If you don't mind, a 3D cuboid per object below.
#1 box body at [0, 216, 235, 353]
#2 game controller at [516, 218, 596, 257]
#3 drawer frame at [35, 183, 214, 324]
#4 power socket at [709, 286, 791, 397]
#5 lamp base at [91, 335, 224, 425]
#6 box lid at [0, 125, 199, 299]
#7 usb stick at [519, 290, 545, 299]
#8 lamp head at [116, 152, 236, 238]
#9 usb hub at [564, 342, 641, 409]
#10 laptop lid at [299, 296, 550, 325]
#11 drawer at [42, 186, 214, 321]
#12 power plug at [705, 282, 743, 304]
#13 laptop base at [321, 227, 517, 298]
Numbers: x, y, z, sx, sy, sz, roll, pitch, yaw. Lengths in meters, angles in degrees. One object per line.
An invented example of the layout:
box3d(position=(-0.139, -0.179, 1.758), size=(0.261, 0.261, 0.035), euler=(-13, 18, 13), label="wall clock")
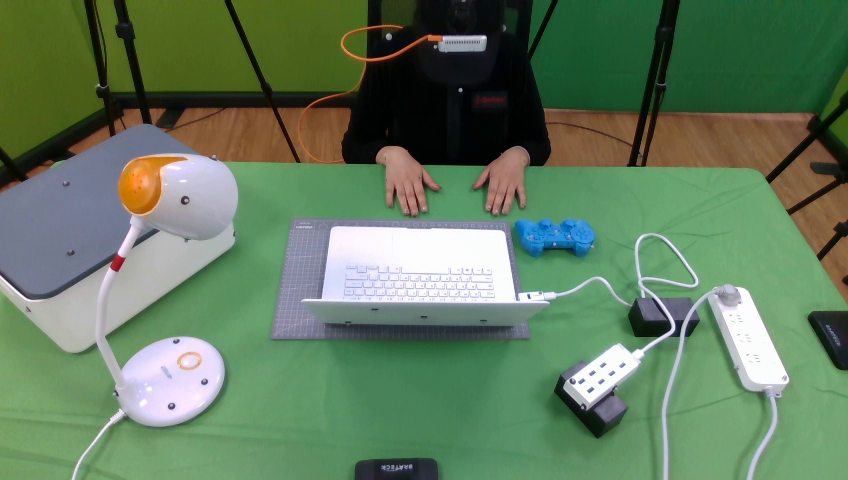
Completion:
box3d(position=(-0.550, -0.007, 1.068), size=(0.253, 0.161, 0.363), euler=(30, 51, 23), label="box body")
box3d(position=(0.267, -0.015, 1.213), size=(0.155, 0.052, 0.096), euler=(0, 50, -3), label="game controller")
box3d(position=(-0.531, 0.018, 1.092), size=(0.201, 0.083, 0.213), euler=(29, 52, 21), label="drawer frame")
box3d(position=(0.567, 0.167, 1.064), size=(0.072, 0.033, 0.225), euler=(2, 46, -1), label="power socket")
box3d(position=(-0.401, 0.170, 0.892), size=(0.160, 0.181, 0.179), euler=(30, 53, 23), label="lamp base")
box3d(position=(-0.540, -0.068, 1.016), size=(0.262, 0.015, 0.371), euler=(30, 51, 23), label="box lid")
box3d(position=(0.186, 0.108, 1.086), size=(0.059, 0.027, 0.021), euler=(-7, 47, 1), label="usb stick")
box3d(position=(-0.315, -0.057, 0.748), size=(0.112, 0.112, 0.123), euler=(26, 10, 20), label="lamp head")
box3d(position=(0.278, 0.208, 0.942), size=(0.125, 0.025, 0.049), euler=(-27, 52, -28), label="usb hub")
box3d(position=(-0.002, 0.114, 0.944), size=(0.357, 0.242, 0.013), euler=(1, 74, -4), label="laptop lid")
box3d(position=(-0.529, 0.018, 1.097), size=(0.194, 0.073, 0.211), euler=(29, 53, 20), label="drawer")
box3d(position=(0.539, 0.097, 1.098), size=(0.072, 0.053, 0.035), euler=(8, 47, 8), label="power plug")
box3d(position=(-0.009, 0.062, 1.137), size=(0.354, 0.023, 0.234), euler=(1, 42, -3), label="laptop base")
